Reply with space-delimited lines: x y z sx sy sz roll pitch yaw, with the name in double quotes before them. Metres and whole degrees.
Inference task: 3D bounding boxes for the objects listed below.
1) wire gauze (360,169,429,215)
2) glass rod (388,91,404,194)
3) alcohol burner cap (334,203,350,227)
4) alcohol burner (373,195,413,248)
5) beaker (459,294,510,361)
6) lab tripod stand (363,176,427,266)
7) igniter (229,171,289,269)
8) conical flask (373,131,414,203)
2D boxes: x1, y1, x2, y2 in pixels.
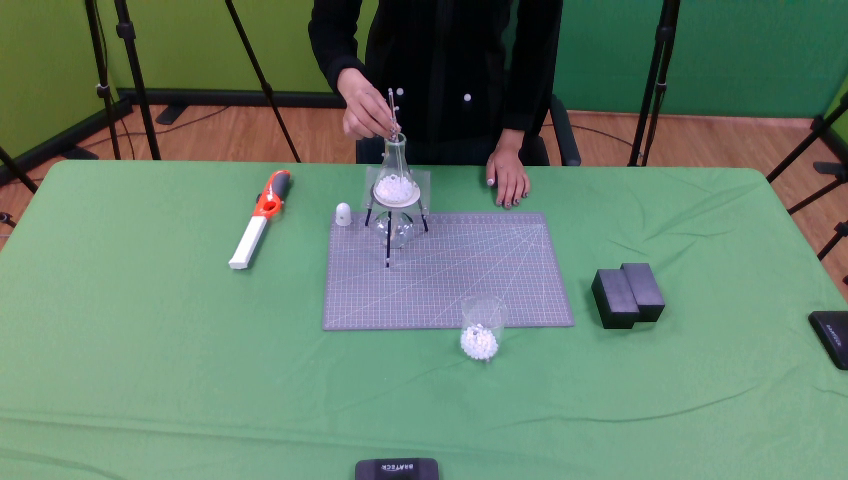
"wire gauze" -0.052 -0.092 1.111 0.125 0.011 0.120 3 43 1
"glass rod" -0.046 -0.160 1.031 0.008 0.201 0.008 -3 40 3
"alcohol burner cap" -0.166 -0.054 1.221 0.034 0.048 0.033 3 46 -2
"alcohol burner" -0.059 -0.041 1.167 0.078 0.119 0.077 4 46 -4
"beaker" 0.095 0.147 1.012 0.083 0.101 0.074 26 49 21
"lab tripod stand" -0.058 -0.047 1.159 0.148 0.132 0.147 3 44 -2
"igniter" -0.328 -0.049 1.218 0.057 0.025 0.275 1 45 11
"conical flask" -0.053 -0.131 1.066 0.075 0.122 0.075 2 44 -2
